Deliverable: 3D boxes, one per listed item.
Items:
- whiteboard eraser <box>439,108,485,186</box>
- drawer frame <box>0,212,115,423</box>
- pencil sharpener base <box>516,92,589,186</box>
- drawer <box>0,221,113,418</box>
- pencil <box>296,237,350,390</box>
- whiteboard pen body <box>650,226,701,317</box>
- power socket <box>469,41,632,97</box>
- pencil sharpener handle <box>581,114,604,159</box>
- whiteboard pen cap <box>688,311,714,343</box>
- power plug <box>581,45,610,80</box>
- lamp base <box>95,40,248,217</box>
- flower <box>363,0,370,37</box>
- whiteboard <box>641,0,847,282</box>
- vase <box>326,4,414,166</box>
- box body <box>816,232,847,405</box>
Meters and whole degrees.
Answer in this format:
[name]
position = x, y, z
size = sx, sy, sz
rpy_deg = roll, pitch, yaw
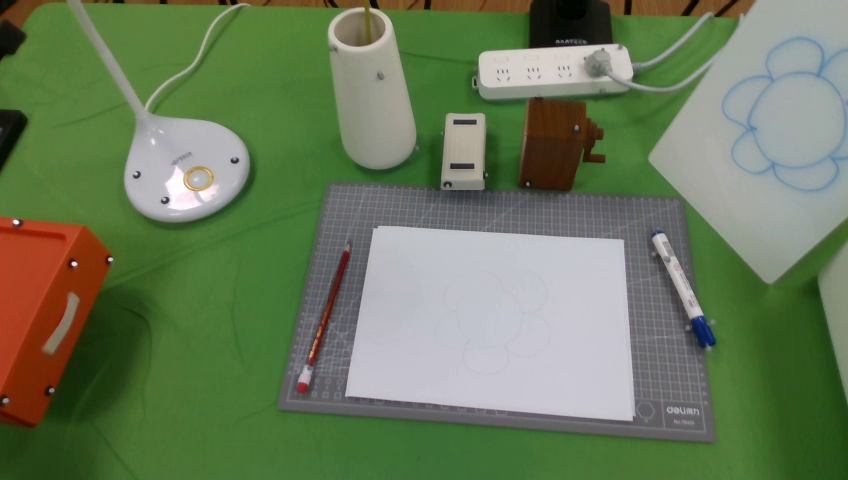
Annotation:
[whiteboard eraser]
position = 0.050, -0.118, 0.780
size = 0.055, 0.042, 0.111
rpy_deg = 3, 60, 3
[drawer frame]
position = -0.472, 0.070, 0.625
size = 0.213, 0.083, 0.200
rpy_deg = 6, 61, 4
[pencil sharpener base]
position = 0.155, -0.120, 0.738
size = 0.076, 0.108, 0.061
rpy_deg = 5, 60, 6
[drawer]
position = -0.465, 0.068, 0.623
size = 0.211, 0.074, 0.193
rpy_deg = 6, 61, 6
[pencil]
position = -0.111, 0.077, 0.691
size = 0.012, 0.012, 0.192
rpy_deg = 9, 60, 9
[whiteboard pen body]
position = 0.287, 0.045, 0.683
size = 0.017, 0.017, 0.139
rpy_deg = -11, 60, -3
[power socket]
position = 0.178, -0.240, 0.849
size = 0.227, 0.033, 0.071
rpy_deg = -2, 61, 1
[pencil sharpener handle]
position = 0.205, -0.121, 0.722
size = 0.030, 0.068, 0.035
rpy_deg = 5, 59, 6
[whiteboard pen cap]
position = 0.297, 0.093, 0.651
size = 0.018, 0.018, 0.033
rpy_deg = -11, 60, -3
[power plug]
position = 0.228, -0.229, 0.813
size = 0.035, 0.053, 0.072
rpy_deg = 7, 62, 7
[lamp base]
position = -0.324, -0.143, 0.732
size = 0.178, 0.182, 0.160
rpy_deg = 33, 66, 23
[flower]
position = -0.062, -0.236, 0.667
size = 0.038, 0.365, 0.043
rpy_deg = -7, 41, -9
[whiteboard]
position = 0.428, -0.140, 0.657
size = 0.144, 0.307, 0.215
rpy_deg = -16, 58, -28
[vase]
position = -0.067, -0.179, 0.730
size = 0.098, 0.202, 0.097
rpy_deg = -2, 59, 4
[box body]
position = 0.540, 0.141, 0.537
size = 0.254, 0.162, 0.361
rpy_deg = 3, 60, 4
